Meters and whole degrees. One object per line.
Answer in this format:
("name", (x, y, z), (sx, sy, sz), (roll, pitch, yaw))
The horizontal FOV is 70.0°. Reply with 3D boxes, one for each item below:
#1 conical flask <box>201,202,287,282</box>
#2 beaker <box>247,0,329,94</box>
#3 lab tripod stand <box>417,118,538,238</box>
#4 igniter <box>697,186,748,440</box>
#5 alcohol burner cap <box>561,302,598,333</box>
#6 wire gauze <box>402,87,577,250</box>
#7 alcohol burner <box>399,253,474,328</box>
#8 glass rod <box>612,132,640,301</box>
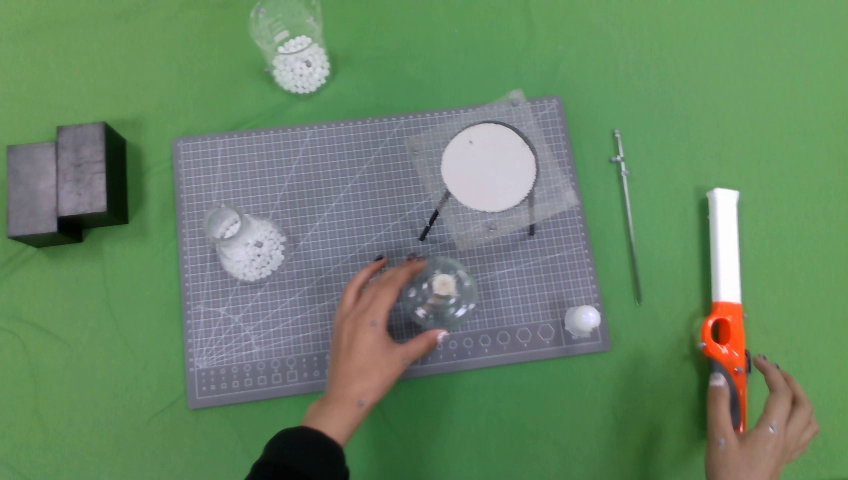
("conical flask", (-0.184, -0.003, 0.605), (0.075, 0.122, 0.075), (0, 78, -2))
("beaker", (-0.142, -0.213, 0.665), (0.074, 0.100, 0.084), (41, 79, 6))
("lab tripod stand", (0.056, -0.054, 0.619), (0.148, 0.132, 0.148), (0, 80, -2))
("igniter", (0.324, 0.076, 0.660), (0.057, 0.025, 0.275), (7, 78, -11))
("alcohol burner cap", (0.167, 0.081, 0.642), (0.034, 0.048, 0.033), (1, 78, -3))
("wire gauze", (0.059, -0.066, 0.553), (0.125, 0.011, 0.121), (-23, 80, -7))
("alcohol burner", (0.014, 0.049, 0.607), (0.078, 0.119, 0.077), (1, 78, -4))
("glass rod", (0.228, -0.030, 0.688), (0.008, 0.008, 0.198), (-3, 78, -3))
